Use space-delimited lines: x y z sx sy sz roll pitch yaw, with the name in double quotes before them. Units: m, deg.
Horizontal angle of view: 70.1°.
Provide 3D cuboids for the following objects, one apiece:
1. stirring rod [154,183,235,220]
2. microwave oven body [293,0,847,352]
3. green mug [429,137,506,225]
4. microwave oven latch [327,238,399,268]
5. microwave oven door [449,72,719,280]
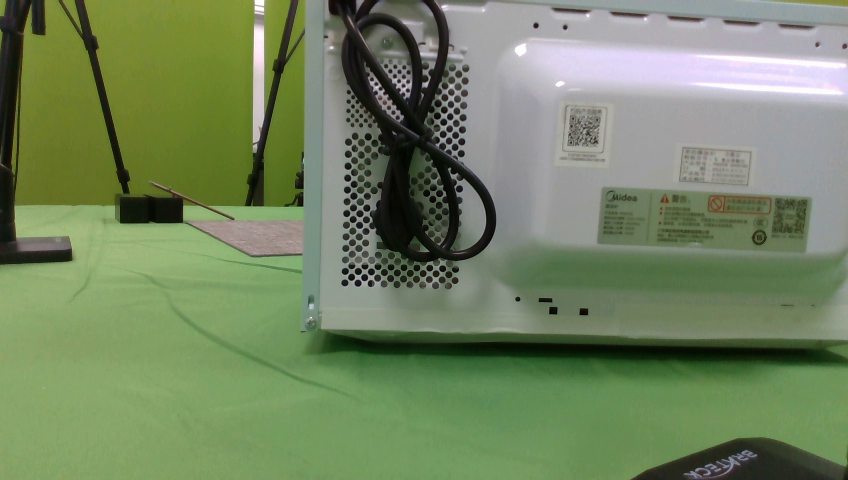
"stirring rod" -0.472 -0.079 1.252 0.177 0.006 0.014 27 4 -35
"microwave oven body" 0.122 -0.055 0.550 0.442 0.260 0.325 3 7 -5
"green mug" 0.047 -0.075 0.766 0.093 0.105 0.124 -3 8 -36
"microwave oven latch" -0.069 0.015 0.694 0.079 0.029 0.030 3 7 -3
"microwave oven door" 0.192 -0.091 0.811 0.354 0.243 0.039 8 8 37
